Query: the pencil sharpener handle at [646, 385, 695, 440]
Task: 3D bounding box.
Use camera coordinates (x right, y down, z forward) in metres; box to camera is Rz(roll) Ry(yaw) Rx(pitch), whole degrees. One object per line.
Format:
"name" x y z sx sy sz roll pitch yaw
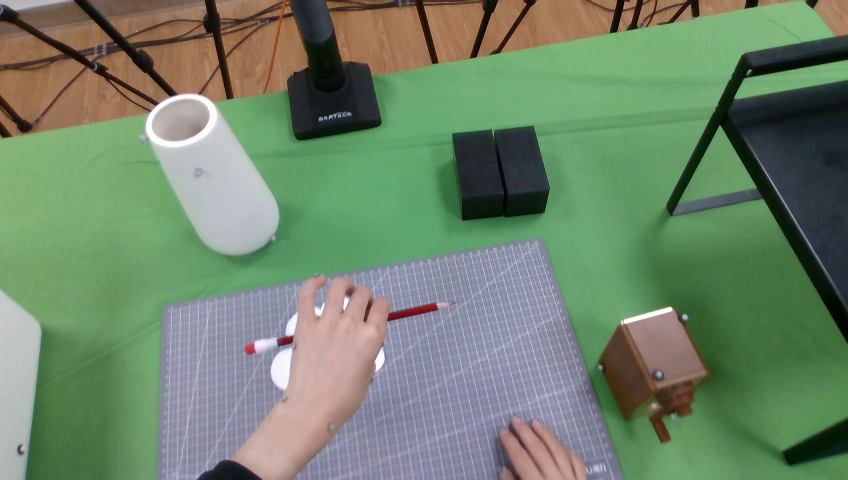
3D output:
"pencil sharpener handle" 0.228 0.159 0.554 0.036 0.068 0.030 -7 58 -18

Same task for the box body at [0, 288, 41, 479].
"box body" -0.518 0.213 0.537 0.254 0.162 0.360 -12 60 -4

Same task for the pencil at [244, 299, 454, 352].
"pencil" -0.066 0.075 0.553 0.194 0.012 0.012 -12 59 -6

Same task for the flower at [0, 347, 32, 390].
"flower" -0.514 0.251 0.612 0.038 0.044 0.358 -21 33 28

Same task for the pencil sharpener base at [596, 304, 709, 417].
"pencil sharpener base" 0.219 0.123 0.590 0.061 0.108 0.076 -14 60 -6

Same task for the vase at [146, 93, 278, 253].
"vase" -0.230 -0.068 0.670 0.098 0.202 0.097 -2 58 3
